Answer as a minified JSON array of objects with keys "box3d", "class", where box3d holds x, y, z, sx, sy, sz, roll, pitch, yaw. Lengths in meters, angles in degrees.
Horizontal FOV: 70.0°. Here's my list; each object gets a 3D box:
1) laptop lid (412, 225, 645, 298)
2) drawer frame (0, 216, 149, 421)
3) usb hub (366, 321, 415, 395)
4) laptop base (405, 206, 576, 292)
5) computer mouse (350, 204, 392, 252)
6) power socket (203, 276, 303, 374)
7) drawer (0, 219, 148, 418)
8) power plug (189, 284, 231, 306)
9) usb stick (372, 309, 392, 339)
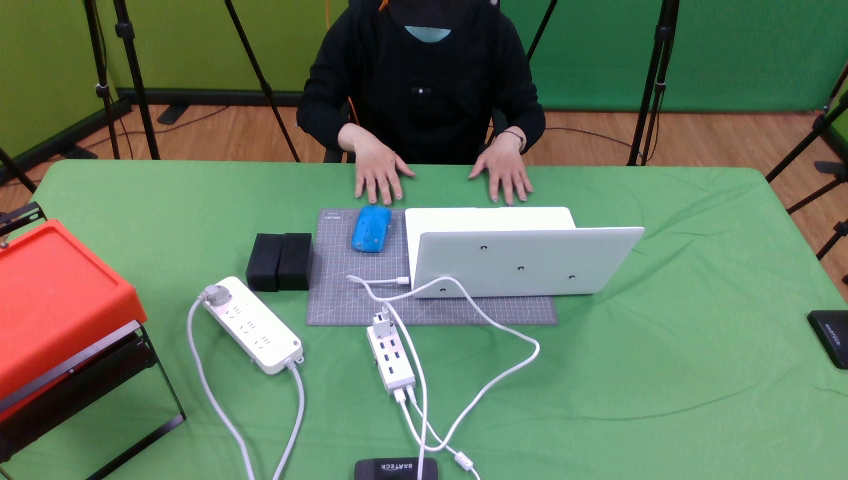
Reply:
[{"box3d":[0.161,0.042,1.012,0.357,0.242,0.013,0,59,-7],"class":"laptop lid"},{"box3d":[-0.510,0.093,0.780,0.201,0.083,0.213,31,52,23],"class":"drawer frame"},{"box3d":[-0.056,0.194,1.007,0.049,0.025,0.124,-13,49,-15],"class":"usb hub"},{"box3d":[0.143,0.018,1.196,0.355,0.023,0.234,-1,43,-6],"class":"laptop base"},{"box3d":[-0.104,-0.027,1.202,0.063,0.041,0.116,11,51,4],"class":"computer mouse"},{"box3d":[-0.296,0.141,1.034,0.072,0.033,0.225,-34,58,-30],"class":"power socket"},{"box3d":[-0.509,0.093,0.783,0.193,0.073,0.211,32,53,24],"class":"drawer"},{"box3d":[-0.368,0.100,1.037,0.072,0.053,0.035,-24,54,-26],"class":"power plug"},{"box3d":[-0.070,0.145,1.008,0.027,0.059,0.021,-14,40,-25],"class":"usb stick"}]
